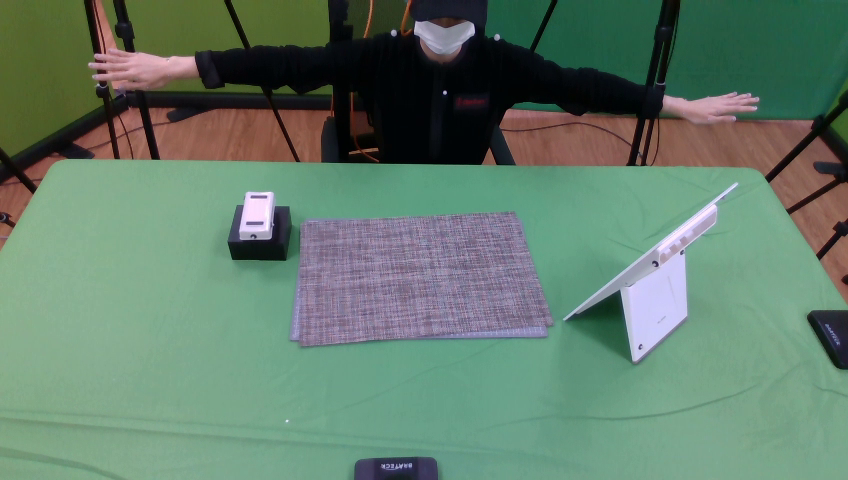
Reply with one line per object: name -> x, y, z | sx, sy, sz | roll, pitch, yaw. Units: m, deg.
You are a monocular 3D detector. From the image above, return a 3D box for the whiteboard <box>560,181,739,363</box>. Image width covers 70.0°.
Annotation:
whiteboard -> 0.406, 0.076, 1.000 | 0.217, 0.306, 0.143 | -29, 74, -29

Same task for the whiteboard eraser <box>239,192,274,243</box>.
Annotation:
whiteboard eraser -> -0.312, -0.043, 1.131 | 0.055, 0.042, 0.112 | -3, 46, -5
